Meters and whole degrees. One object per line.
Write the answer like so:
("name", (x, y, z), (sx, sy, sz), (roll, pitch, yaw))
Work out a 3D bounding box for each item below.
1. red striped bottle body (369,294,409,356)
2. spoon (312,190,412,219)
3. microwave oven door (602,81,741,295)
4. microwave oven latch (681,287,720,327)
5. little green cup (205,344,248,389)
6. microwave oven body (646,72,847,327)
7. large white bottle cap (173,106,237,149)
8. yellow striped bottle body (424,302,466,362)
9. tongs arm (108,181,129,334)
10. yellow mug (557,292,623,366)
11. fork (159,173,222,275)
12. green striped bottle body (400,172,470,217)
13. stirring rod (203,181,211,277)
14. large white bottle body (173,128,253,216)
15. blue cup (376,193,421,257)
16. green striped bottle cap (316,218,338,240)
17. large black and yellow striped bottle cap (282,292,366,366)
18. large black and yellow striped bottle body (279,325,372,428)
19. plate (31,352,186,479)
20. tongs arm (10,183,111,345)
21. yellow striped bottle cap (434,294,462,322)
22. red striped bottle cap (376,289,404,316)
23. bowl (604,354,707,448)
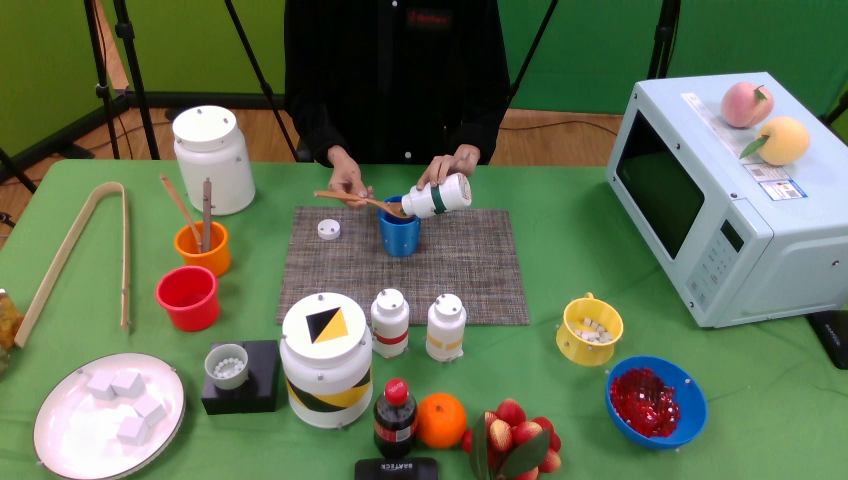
("red striped bottle body", (-0.059, 0.134, 0.997), (0.063, 0.120, 0.062), (5, 48, -5))
("spoon", (-0.106, -0.070, 1.094), (0.194, 0.022, 0.041), (13, 47, -21))
("microwave oven door", (0.456, -0.107, 1.162), (0.039, 0.245, 0.353), (-7, 47, -11))
("microwave oven latch", (0.494, 0.119, 1.087), (0.030, 0.029, 0.078), (-5, 46, -9))
("little green cup", (-0.294, 0.191, 0.909), (0.061, 0.039, 0.061), (1, 47, -1))
("microwave oven body", (0.607, -0.089, 1.164), (0.326, 0.261, 0.438), (-7, 46, -10))
("large white bottle cap", (-0.411, -0.212, 1.138), (0.115, 0.018, 0.114), (2, 47, -2))
("yellow striped bottle body", (0.035, 0.143, 0.995), (0.063, 0.121, 0.062), (3, 46, -2))
("tongs arm", (-0.571, 0.019, 1.123), (0.051, 0.026, 0.382), (-10, 47, -12))
("yellow mug", (0.285, 0.145, 1.051), (0.100, 0.064, 0.130), (7, 45, 4))
("fork", (-0.427, -0.029, 1.103), (0.028, 0.018, 0.207), (-31, 99, -31))
("green striped bottle body", (0.017, -0.078, 1.085), (0.119, 0.063, 0.063), (-12, 42, 20))
("stirring rod", (-0.396, -0.021, 1.108), (0.014, 0.006, 0.176), (-1, 89, -2))
("large white bottle body", (-0.416, -0.154, 1.199), (0.131, 0.185, 0.130), (2, 46, -2))
("blue cup", (-0.048, -0.021, 1.155), (0.093, 0.101, 0.092), (1, 47, -1))
("green striped bottle cap", (-0.193, -0.022, 1.203), (0.044, 0.020, 0.044), (2, 49, -2))
("large black and yellow striped bottle cap", (-0.138, 0.121, 0.841), (0.115, 0.019, 0.114), (3, 47, -3))
("large black and yellow striped bottle body", (-0.143, 0.181, 0.900), (0.131, 0.185, 0.130), (2, 46, -2))
("plate", (-0.459, 0.262, 0.898), (0.209, 0.038, 0.208), (2, 46, -2))
("tongs arm", (-0.658, 0.027, 1.109), (0.028, 0.028, 0.385), (-2, 45, 1))
("yellow striped bottle cap", (0.038, 0.107, 0.958), (0.044, 0.019, 0.044), (2, 45, -2))
("red striped bottle cap", (-0.054, 0.098, 0.958), (0.044, 0.018, 0.044), (0, 48, 1))
("bowl", (0.346, 0.261, 0.937), (0.151, 0.077, 0.150), (2, 46, -2))
